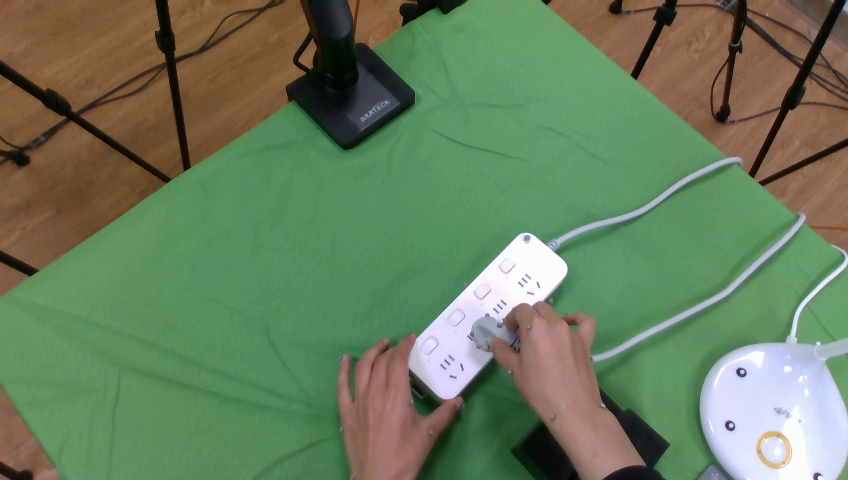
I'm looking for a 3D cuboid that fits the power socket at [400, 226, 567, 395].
[{"bbox_3d":[0.067,0.073,0.660,0.072,0.033,0.226,43,71,12],"label":"power socket"}]

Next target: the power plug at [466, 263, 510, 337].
[{"bbox_3d":[0.069,0.066,0.627,0.035,0.052,0.072,38,62,-22],"label":"power plug"}]

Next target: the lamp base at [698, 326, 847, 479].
[{"bbox_3d":[0.378,0.139,0.577,0.160,0.181,0.178,19,65,4],"label":"lamp base"}]
